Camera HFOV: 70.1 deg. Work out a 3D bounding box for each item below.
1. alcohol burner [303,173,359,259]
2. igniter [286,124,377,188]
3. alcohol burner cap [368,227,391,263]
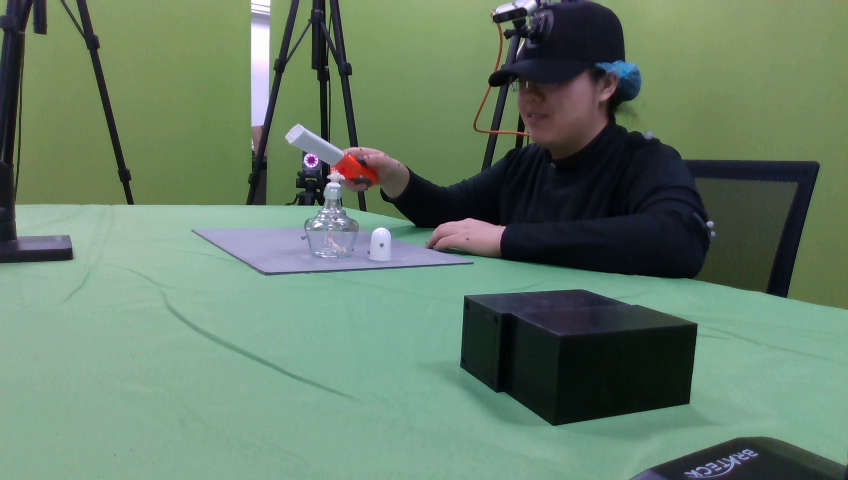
[{"bbox_3d":[-0.130,-0.034,0.850,0.078,0.119,0.078,2,5,0],"label":"alcohol burner"},{"bbox_3d":[-0.143,-0.133,1.010,0.057,0.025,0.277,-39,-19,10],"label":"igniter"},{"bbox_3d":[-0.060,0.006,0.836,0.034,0.048,0.034,3,7,0],"label":"alcohol burner cap"}]
